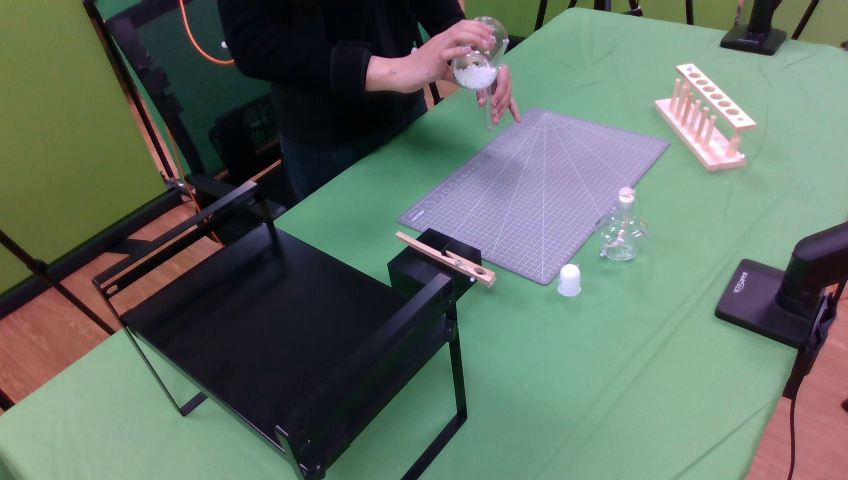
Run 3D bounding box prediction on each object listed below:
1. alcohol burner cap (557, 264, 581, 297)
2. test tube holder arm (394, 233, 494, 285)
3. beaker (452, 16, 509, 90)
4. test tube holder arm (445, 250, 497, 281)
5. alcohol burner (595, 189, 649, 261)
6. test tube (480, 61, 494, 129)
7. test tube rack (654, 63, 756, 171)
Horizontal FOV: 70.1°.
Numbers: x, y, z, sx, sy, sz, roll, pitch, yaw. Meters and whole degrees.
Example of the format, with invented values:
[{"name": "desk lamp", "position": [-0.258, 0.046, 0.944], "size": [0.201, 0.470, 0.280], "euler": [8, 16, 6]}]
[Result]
[{"name": "alcohol burner cap", "position": [0.209, 0.055, 0.866], "size": [0.034, 0.048, 0.033], "euler": [-4, 42, 4]}, {"name": "test tube holder arm", "position": [0.025, 0.025, 0.872], "size": [0.177, 0.015, 0.013], "euler": [23, 57, 31]}, {"name": "beaker", "position": [0.085, -0.281, 0.923], "size": [0.074, 0.084, 0.100], "euler": [9, 47, 11]}, {"name": "test tube holder arm", "position": [0.063, 0.036, 0.851], "size": [0.087, 0.015, 0.010], "euler": [23, 58, 32]}, {"name": "alcohol burner", "position": [0.294, -0.028, 0.894], "size": [0.078, 0.119, 0.077], "euler": [-4, 43, 5]}, {"name": "test tube", "position": [0.110, -0.246, 1.042], "size": [0.017, 0.151, 0.017], "euler": [-5, 56, 7]}, {"name": "test tube rack", "position": [0.510, -0.233, 1.120], "size": [0.067, 0.085, 0.241], "euler": [-8, 41, -1]}]
